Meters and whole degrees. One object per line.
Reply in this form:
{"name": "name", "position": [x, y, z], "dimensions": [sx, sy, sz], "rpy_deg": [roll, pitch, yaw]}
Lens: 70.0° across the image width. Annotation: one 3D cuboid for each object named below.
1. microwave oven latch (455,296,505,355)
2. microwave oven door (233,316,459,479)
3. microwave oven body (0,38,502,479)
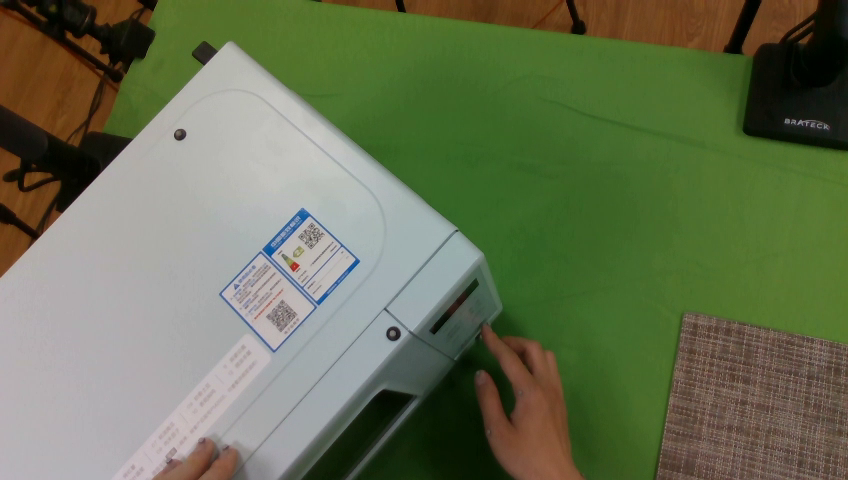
{"name": "microwave oven latch", "position": [0.052, 0.085, 0.645], "dimensions": [0.030, 0.030, 0.079], "rpy_deg": [43, 87, 18]}
{"name": "microwave oven door", "position": [-0.116, 0.218, 0.533], "dimensions": [0.039, 0.245, 0.355], "rpy_deg": [41, 85, 19]}
{"name": "microwave oven body", "position": [-0.191, 0.098, 0.586], "dimensions": [0.324, 0.262, 0.441], "rpy_deg": [41, 86, 18]}
